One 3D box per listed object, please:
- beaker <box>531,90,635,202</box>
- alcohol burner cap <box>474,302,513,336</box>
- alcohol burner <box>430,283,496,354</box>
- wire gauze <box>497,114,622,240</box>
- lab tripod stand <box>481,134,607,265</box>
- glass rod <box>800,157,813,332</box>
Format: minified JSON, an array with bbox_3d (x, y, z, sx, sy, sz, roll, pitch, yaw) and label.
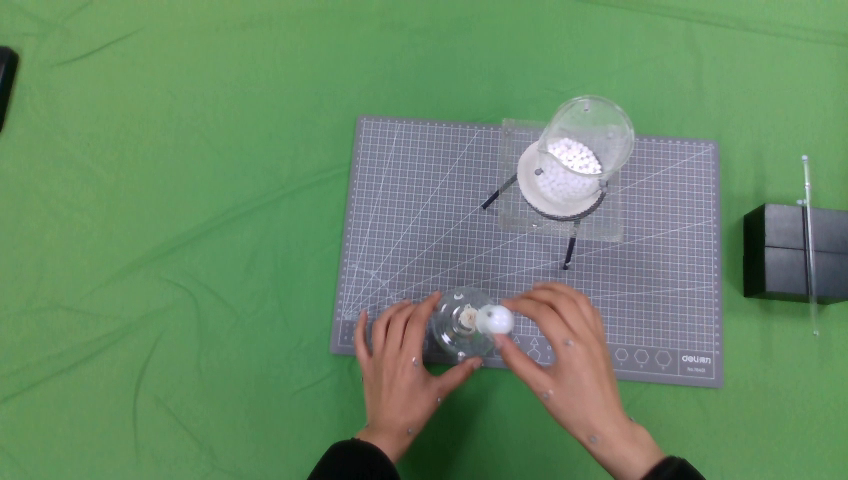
[{"bbox_3d":[0.138,-0.080,0.557,0.084,0.100,0.073,-11,77,-2],"label":"beaker"},{"bbox_3d":[0.066,0.074,0.567,0.034,0.048,0.033,1,81,-5],"label":"alcohol burner cap"},{"bbox_3d":[0.045,0.083,0.649,0.078,0.119,0.077,0,80,0],"label":"alcohol burner"},{"bbox_3d":[0.136,-0.065,0.603,0.125,0.011,0.121,6,78,-1],"label":"wire gauze"},{"bbox_3d":[0.141,-0.055,0.668,0.148,0.132,0.147,0,76,1],"label":"lab tripod stand"},{"bbox_3d":[0.425,0.002,0.673,0.008,0.008,0.199,5,78,2],"label":"glass rod"}]
